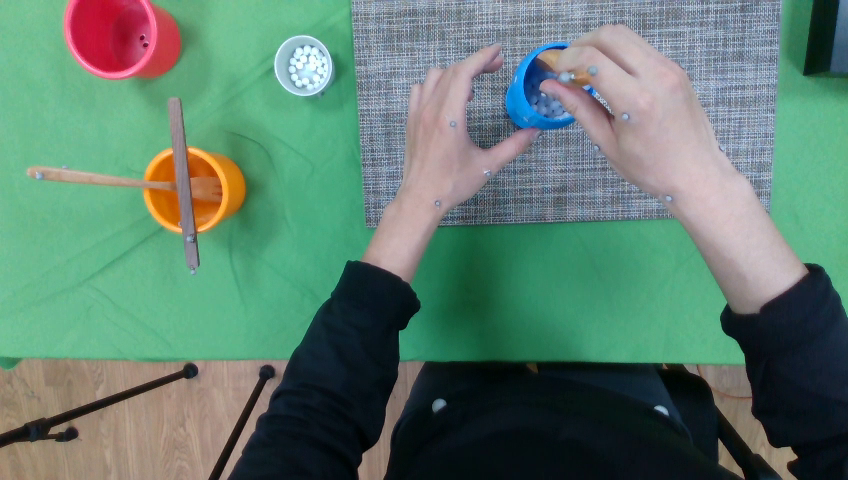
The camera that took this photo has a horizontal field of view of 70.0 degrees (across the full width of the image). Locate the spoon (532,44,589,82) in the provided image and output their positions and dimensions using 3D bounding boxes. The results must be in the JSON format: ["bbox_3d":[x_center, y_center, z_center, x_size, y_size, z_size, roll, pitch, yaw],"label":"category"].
[{"bbox_3d":[0.101,-0.124,0.433,0.041,0.192,0.022,17,113,1],"label":"spoon"}]

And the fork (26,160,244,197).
[{"bbox_3d":[-0.290,-0.065,0.631,0.209,0.018,0.028,3,111,-41],"label":"fork"}]

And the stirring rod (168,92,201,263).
[{"bbox_3d":[-0.248,-0.063,0.626,0.014,0.006,0.176,-2,100,4],"label":"stirring rod"}]

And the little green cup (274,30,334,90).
[{"bbox_3d":[-0.127,-0.192,0.653,0.061,0.038,0.062,1,101,4],"label":"little green cup"}]

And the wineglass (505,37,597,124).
[{"bbox_3d":[0.115,-0.145,0.575,0.074,0.172,0.074,1,99,4],"label":"wineglass"}]
